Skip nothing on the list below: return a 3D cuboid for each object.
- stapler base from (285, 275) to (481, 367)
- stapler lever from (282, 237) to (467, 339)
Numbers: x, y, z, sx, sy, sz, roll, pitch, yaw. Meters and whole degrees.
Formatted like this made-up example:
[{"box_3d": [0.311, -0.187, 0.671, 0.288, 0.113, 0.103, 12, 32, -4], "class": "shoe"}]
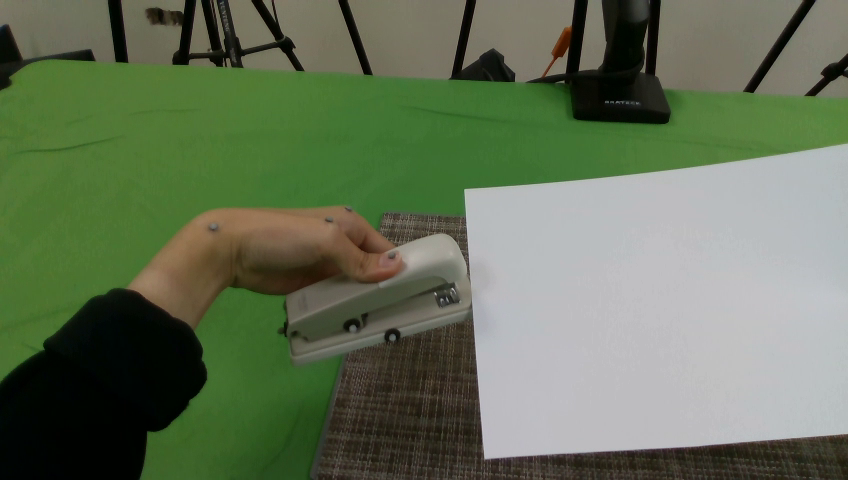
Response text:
[{"box_3d": [-0.028, 0.044, 0.395, 0.131, 0.025, 0.041, -15, 46, -6], "class": "stapler base"}, {"box_3d": [-0.031, 0.029, 0.377, 0.118, 0.040, 0.026, -14, 45, -7], "class": "stapler lever"}]
